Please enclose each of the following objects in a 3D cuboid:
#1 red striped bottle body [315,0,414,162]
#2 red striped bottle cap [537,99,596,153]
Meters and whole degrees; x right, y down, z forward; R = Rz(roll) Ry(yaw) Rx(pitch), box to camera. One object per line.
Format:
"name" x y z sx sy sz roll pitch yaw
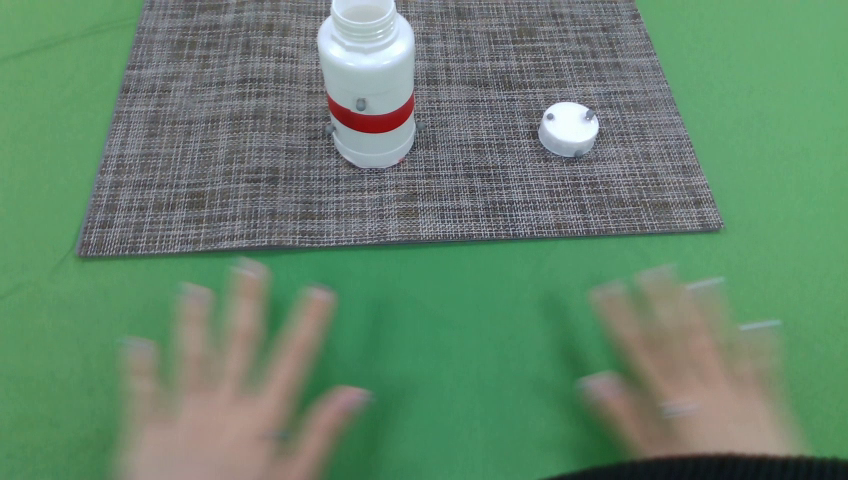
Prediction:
"red striped bottle body" -0.039 -0.114 0.418 0.063 0.120 0.062 1 58 -1
"red striped bottle cap" 0.111 -0.090 0.471 0.044 0.018 0.044 1 55 -1
